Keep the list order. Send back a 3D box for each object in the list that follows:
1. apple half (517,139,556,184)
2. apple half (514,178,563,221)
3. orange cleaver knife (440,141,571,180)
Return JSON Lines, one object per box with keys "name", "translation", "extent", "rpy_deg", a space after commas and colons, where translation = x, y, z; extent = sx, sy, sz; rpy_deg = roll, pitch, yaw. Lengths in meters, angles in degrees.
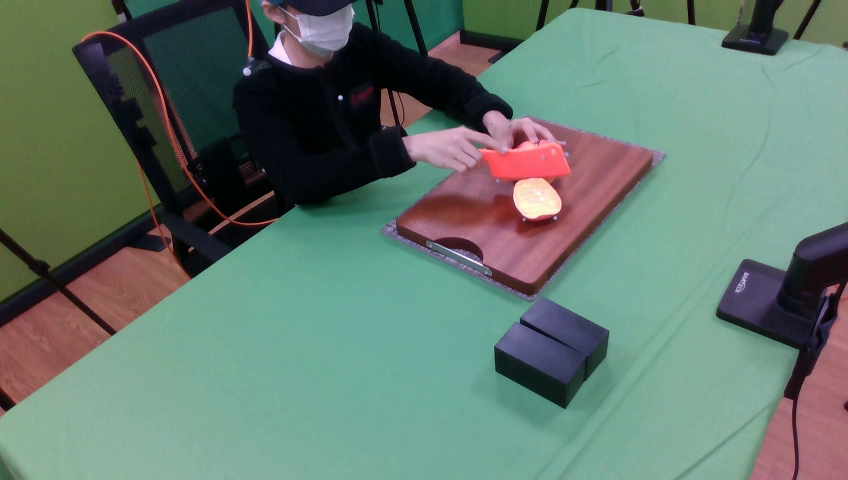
{"name": "apple half", "translation": [0.194, -0.135, 1.022], "extent": [0.080, 0.075, 0.053], "rpy_deg": [4, 38, 21]}
{"name": "apple half", "translation": [0.177, -0.060, 0.960], "extent": [0.081, 0.033, 0.081], "rpy_deg": [4, 61, -6]}
{"name": "orange cleaver knife", "translation": [0.131, -0.127, 0.989], "extent": [0.210, 0.077, 0.012], "rpy_deg": [2, 47, 17]}
